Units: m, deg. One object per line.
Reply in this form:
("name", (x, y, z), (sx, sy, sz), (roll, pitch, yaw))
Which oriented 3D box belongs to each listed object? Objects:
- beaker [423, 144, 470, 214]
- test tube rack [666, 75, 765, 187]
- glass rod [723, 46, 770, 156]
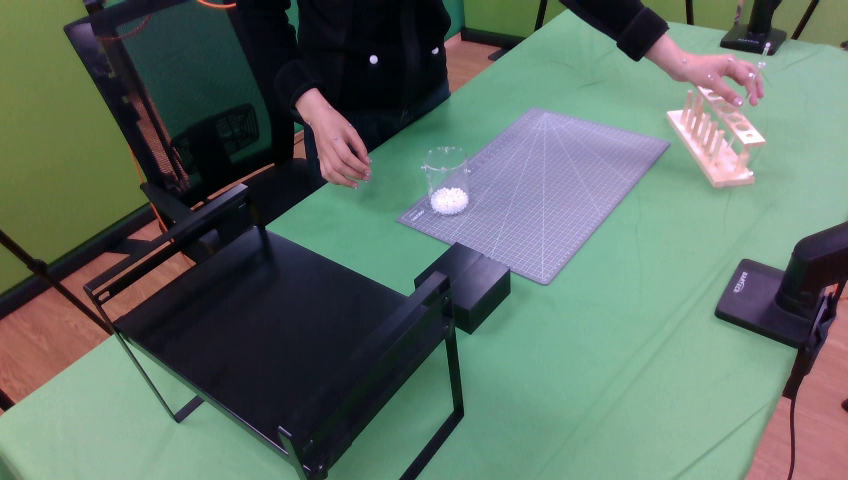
("beaker", (0.040, -0.102, 1.023), (0.074, 0.101, 0.083), (-3, 40, 4))
("test tube rack", (0.512, -0.201, 1.082), (0.067, 0.085, 0.241), (-5, 41, 2))
("glass rod", (0.534, -0.225, 1.005), (0.008, 0.200, 0.008), (1, 41, 0))
